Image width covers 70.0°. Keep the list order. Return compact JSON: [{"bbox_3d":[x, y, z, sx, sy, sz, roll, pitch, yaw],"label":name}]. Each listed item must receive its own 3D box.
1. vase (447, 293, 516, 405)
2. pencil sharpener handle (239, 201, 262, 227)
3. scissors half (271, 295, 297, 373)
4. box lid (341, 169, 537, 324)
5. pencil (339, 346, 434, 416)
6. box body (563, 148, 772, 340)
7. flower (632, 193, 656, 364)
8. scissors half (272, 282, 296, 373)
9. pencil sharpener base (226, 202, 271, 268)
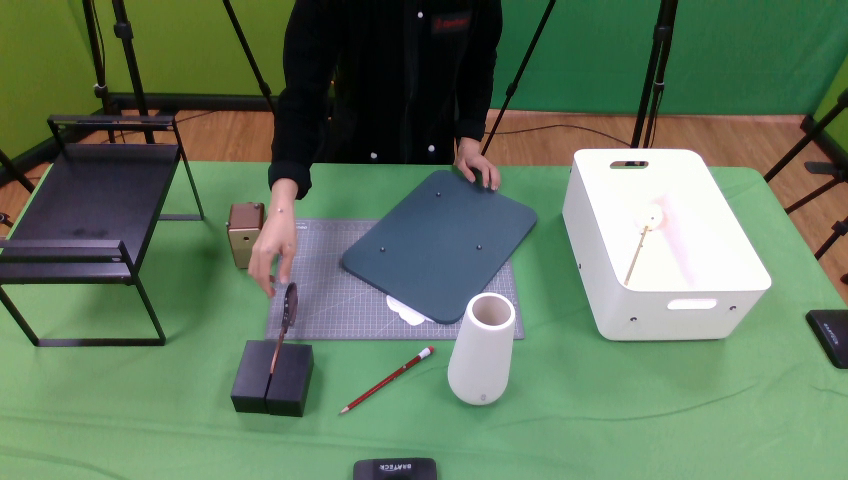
[{"bbox_3d":[0.091,0.169,0.921,0.098,0.201,0.097,3,47,-3],"label":"vase"},{"bbox_3d":[-0.325,-0.056,1.150,0.036,0.068,0.030,-13,46,4],"label":"pencil sharpener handle"},{"bbox_3d":[-0.231,0.153,0.999,0.013,0.040,0.174,3,34,0],"label":"scissors half"},{"bbox_3d":[0.038,-0.004,1.210,0.262,0.015,0.371,27,49,21],"label":"box lid"},{"bbox_3d":[-0.058,0.228,0.984,0.194,0.012,0.012,-32,56,-28],"label":"pencil"},{"bbox_3d":[0.421,0.003,1.130,0.254,0.161,0.361,0,46,-5],"label":"box body"},{"bbox_3d":[0.422,0.068,1.187,0.038,0.044,0.360,21,65,-18],"label":"flower"},{"bbox_3d":[-0.229,0.139,0.986,0.013,0.040,0.174,6,50,-4],"label":"scissors half"},{"bbox_3d":[-0.323,-0.010,1.123,0.061,0.107,0.076,-3,46,-6],"label":"pencil sharpener base"}]
